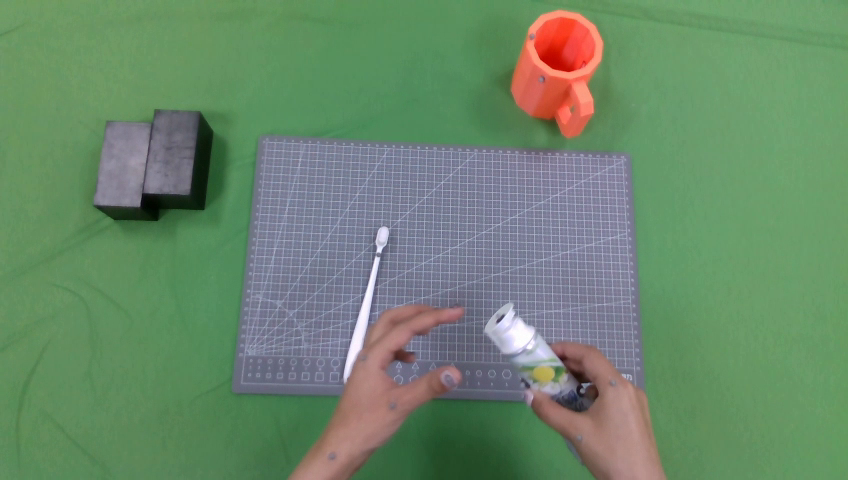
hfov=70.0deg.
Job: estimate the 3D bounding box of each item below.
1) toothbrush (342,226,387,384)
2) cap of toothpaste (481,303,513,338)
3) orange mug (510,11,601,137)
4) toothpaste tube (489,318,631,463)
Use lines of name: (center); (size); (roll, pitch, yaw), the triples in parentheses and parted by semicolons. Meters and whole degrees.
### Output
toothbrush: (-0.065, 0.069, 0.673); (0.014, 0.016, 0.181); (15, 76, -13)
cap of toothpaste: (0.064, 0.070, 0.517); (0.011, 0.037, 0.037); (42, 76, -3)
orange mug: (0.159, -0.189, 0.714); (0.083, 0.101, 0.125); (-19, 72, -8)
toothpaste tube: (0.114, 0.132, 0.535); (0.055, 0.034, 0.166); (-35, 103, 21)
